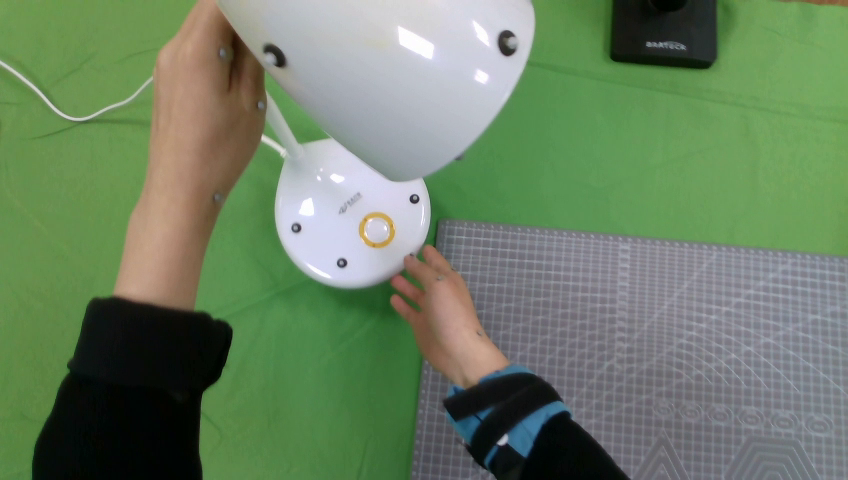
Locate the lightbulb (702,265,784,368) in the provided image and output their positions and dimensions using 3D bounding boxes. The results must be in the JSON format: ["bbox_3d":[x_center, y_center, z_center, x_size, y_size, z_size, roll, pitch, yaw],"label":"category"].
[{"bbox_3d":[0.307,0.073,0.595,0.059,0.060,0.106,-18,65,-1],"label":"lightbulb"}]

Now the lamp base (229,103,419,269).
[{"bbox_3d":[-0.100,-0.066,0.564,0.179,0.181,0.160,16,81,7],"label":"lamp base"}]

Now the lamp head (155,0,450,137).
[{"bbox_3d":[-0.067,-0.120,0.277,0.124,0.112,0.112,20,79,-31],"label":"lamp head"}]
